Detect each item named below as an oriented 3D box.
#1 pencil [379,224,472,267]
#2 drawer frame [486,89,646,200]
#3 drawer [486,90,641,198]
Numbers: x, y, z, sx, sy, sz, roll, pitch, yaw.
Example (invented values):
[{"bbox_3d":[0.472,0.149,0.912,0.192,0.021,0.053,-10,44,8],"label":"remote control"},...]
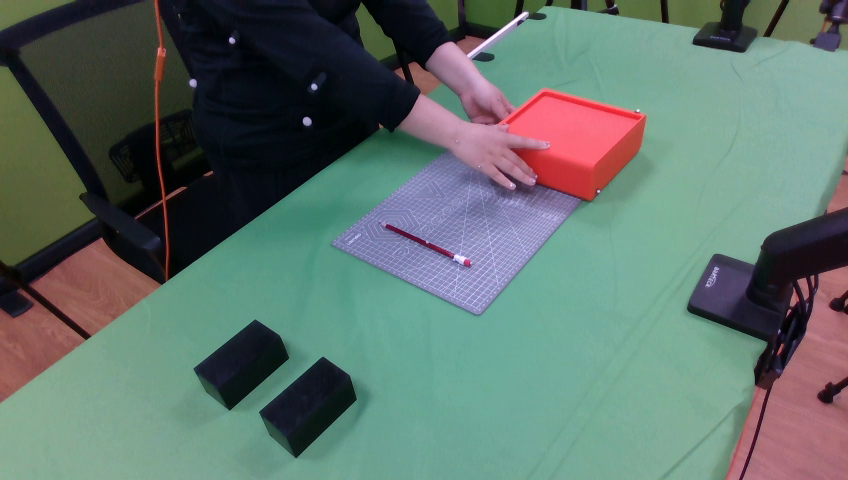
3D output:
[{"bbox_3d":[-0.002,0.005,0.970,0.192,0.012,0.012,24,49,33],"label":"pencil"},{"bbox_3d":[0.255,-0.179,1.094,0.212,0.083,0.202,25,48,31],"label":"drawer frame"},{"bbox_3d":[0.251,-0.178,1.095,0.210,0.073,0.195,26,49,31],"label":"drawer"}]
